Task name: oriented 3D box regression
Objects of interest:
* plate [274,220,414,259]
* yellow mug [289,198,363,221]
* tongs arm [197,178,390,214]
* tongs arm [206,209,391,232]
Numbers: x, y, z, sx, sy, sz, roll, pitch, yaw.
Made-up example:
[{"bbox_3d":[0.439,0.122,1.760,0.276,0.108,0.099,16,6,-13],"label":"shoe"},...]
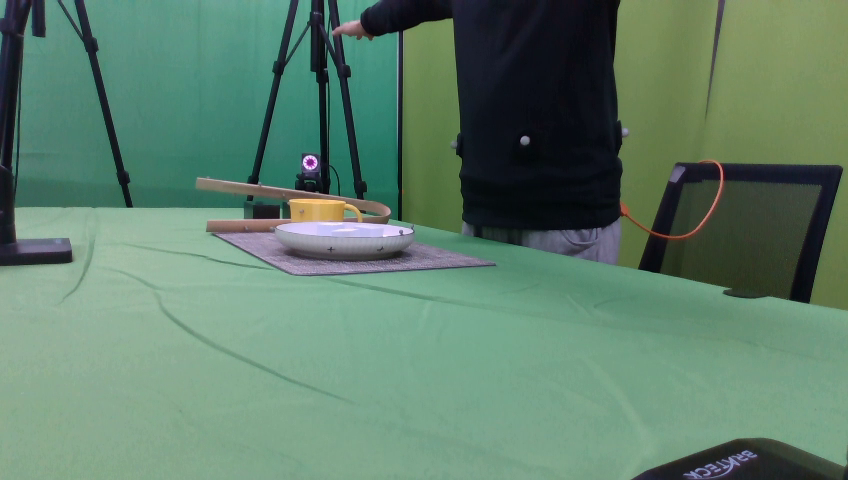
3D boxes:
[{"bbox_3d":[-0.118,-0.001,0.903,0.208,0.039,0.207,3,7,0],"label":"plate"},{"bbox_3d":[-0.174,-0.039,1.072,0.131,0.064,0.100,3,7,0],"label":"yellow mug"},{"bbox_3d":[-0.256,-0.083,1.229,0.387,0.026,0.050,5,30,-26],"label":"tongs arm"},{"bbox_3d":[-0.224,-0.037,1.170,0.390,0.028,0.028,-4,31,-36],"label":"tongs arm"}]
